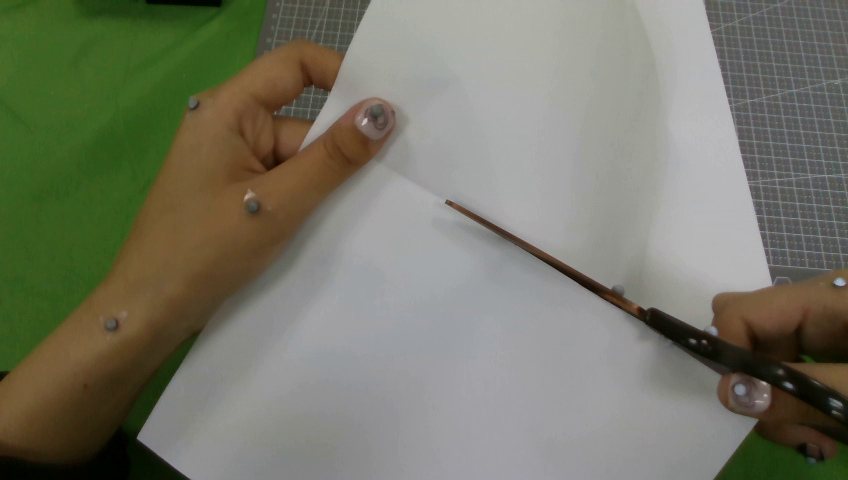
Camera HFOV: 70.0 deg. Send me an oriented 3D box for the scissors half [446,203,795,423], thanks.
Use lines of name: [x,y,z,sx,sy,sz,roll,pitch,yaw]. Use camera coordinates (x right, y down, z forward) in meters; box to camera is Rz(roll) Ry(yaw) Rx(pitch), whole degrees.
scissors half: [0.084,0.029,0.245,0.176,0.040,0.013,30,92,-8]

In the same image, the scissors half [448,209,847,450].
scissors half: [0.082,0.028,0.223,0.174,0.040,0.013,30,87,20]
